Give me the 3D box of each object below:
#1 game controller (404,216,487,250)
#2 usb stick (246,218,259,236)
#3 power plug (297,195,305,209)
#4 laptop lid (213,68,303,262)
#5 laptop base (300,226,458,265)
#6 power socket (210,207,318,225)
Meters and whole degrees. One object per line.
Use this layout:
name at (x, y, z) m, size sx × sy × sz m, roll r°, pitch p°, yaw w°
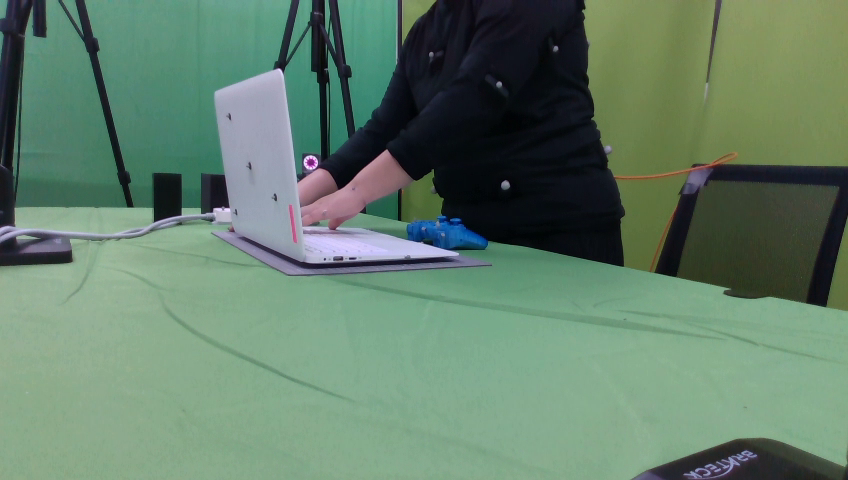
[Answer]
game controller at (0.033, -0.013, 1.066) m, size 0.097 × 0.051 × 0.154 m, roll -7°, pitch 10°, yaw -29°
usb stick at (-0.306, -0.024, 1.079) m, size 0.021 × 0.027 × 0.059 m, roll 3°, pitch -7°, yaw -15°
power plug at (-0.285, -0.075, 1.341) m, size 0.035 × 0.052 × 0.072 m, roll 0°, pitch 4°, yaw -19°
laptop lid at (-0.248, -0.107, 0.865) m, size 0.013 × 0.241 × 0.355 m, roll -11°, pitch 14°, yaw -30°
laptop base at (-0.137, 0.007, 0.950) m, size 0.237 × 0.023 × 0.352 m, roll 2°, pitch 6°, yaw -32°
power socket at (-0.335, -0.051, 1.280) m, size 0.228 × 0.032 × 0.072 m, roll -1°, pitch 9°, yaw -29°
